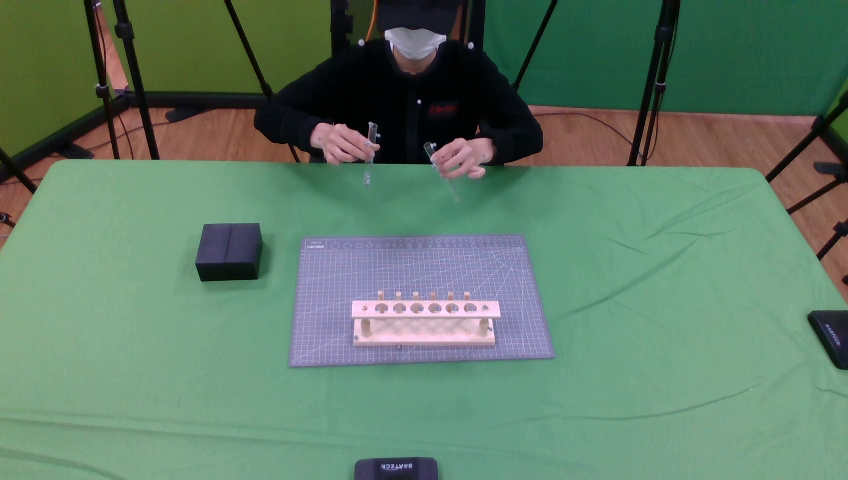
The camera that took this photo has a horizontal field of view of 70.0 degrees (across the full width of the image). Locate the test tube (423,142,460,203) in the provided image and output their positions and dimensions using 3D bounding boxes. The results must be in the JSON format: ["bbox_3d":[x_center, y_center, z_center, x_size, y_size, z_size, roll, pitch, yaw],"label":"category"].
[{"bbox_3d":[0.035,-0.124,1.134,0.017,0.151,0.017,-18,42,17],"label":"test tube"}]

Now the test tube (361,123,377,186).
[{"bbox_3d":[-0.106,-0.160,1.157,0.017,0.151,0.017,6,47,-7],"label":"test tube"}]

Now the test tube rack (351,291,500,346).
[{"bbox_3d":[0.000,0.129,1.026,0.242,0.085,0.066,1,46,-4],"label":"test tube rack"}]
